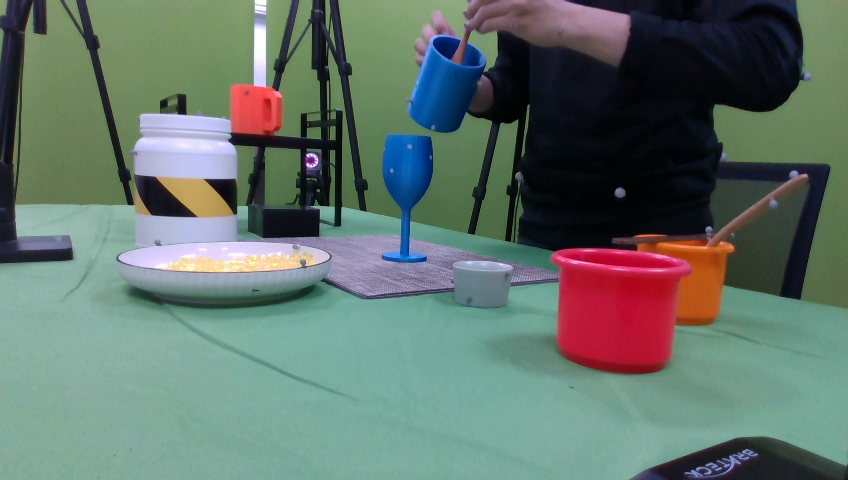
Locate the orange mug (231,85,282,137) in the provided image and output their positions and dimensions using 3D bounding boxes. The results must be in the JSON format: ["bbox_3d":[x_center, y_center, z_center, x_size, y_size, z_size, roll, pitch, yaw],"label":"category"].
[{"bbox_3d":[-0.335,-0.261,1.225,0.125,0.100,0.084,2,6,35],"label":"orange mug"}]

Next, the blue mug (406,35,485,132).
[{"bbox_3d":[0.023,-0.229,0.853,0.083,0.106,0.116,-1,46,-26],"label":"blue mug"}]

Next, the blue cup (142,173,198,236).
[{"bbox_3d":[-0.425,-0.060,1.014,0.093,0.100,0.092,4,9,0],"label":"blue cup"}]

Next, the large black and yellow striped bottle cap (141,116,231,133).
[{"bbox_3d":[-0.324,-0.157,0.826,0.115,0.019,0.115,1,7,0],"label":"large black and yellow striped bottle cap"}]

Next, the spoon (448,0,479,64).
[{"bbox_3d":[0.051,-0.274,0.806,0.041,0.193,0.022,29,22,28],"label":"spoon"}]

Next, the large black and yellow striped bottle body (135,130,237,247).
[{"bbox_3d":[-0.327,-0.074,0.838,0.131,0.184,0.130,2,7,0],"label":"large black and yellow striped bottle body"}]

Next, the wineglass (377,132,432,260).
[{"bbox_3d":[-0.026,-0.062,0.841,0.074,0.172,0.073,2,7,0],"label":"wineglass"}]

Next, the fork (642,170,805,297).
[{"bbox_3d":[0.261,0.004,0.545,0.028,0.018,0.207,5,-37,-15],"label":"fork"}]

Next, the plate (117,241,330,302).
[{"bbox_3d":[-0.203,0.031,0.630,0.209,0.038,0.209,3,7,0],"label":"plate"}]

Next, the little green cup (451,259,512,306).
[{"bbox_3d":[0.057,0.043,0.611,0.061,0.038,0.061,3,8,0],"label":"little green cup"}]

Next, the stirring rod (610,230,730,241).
[{"bbox_3d":[0.241,-0.005,0.582,0.177,0.006,0.014,-3,9,-34],"label":"stirring rod"}]
